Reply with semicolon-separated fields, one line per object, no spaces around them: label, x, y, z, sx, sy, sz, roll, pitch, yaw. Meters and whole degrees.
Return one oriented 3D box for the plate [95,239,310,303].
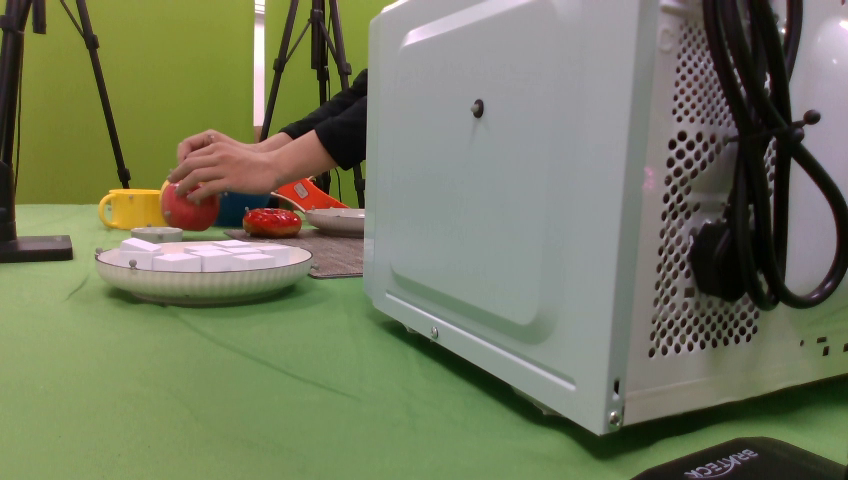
plate;-0.224;0.031;0.629;0.208;0.039;0.207;2;7;0

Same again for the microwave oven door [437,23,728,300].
microwave oven door;0.181;-0.073;0.621;0.358;0.243;0.039;-2;8;-29

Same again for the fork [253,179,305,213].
fork;-0.294;-0.083;1.293;0.206;0.018;0.028;29;13;26

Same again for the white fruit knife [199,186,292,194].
white fruit knife;-0.399;-0.111;1.368;0.208;0.016;0.027;-4;-19;-29

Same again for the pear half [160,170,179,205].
pear half;-0.412;-0.072;0.988;0.031;0.088;0.070;4;10;-2

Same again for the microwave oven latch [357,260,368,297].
microwave oven latch;-0.019;0.033;0.530;0.079;0.029;0.030;-1;7;-26

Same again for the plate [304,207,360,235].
plate;-0.123;-0.037;1.149;0.209;0.038;0.209;2;7;0

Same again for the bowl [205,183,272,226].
bowl;-0.381;-0.070;1.202;0.151;0.077;0.151;3;7;0

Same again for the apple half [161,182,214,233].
apple half;-0.357;-0.049;0.892;0.080;0.074;0.053;12;8;26

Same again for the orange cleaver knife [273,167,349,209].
orange cleaver knife;-0.237;-0.087;1.358;0.211;0.077;0.012;32;4;-3

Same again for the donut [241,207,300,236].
donut;-0.263;-0.031;1.038;0.099;0.048;0.099;5;8;0

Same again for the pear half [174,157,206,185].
pear half;-0.376;-0.080;0.986;0.056;0.110;0.076;1;8;-2

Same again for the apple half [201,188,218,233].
apple half;-0.340;-0.048;0.929;0.081;0.081;0.033;6;8;28

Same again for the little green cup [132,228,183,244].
little green cup;-0.342;0.006;0.779;0.061;0.038;0.061;2;8;0

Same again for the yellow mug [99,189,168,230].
yellow mug;-0.519;-0.055;1.081;0.099;0.064;0.131;7;10;27

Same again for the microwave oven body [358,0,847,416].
microwave oven body;0.211;-0.047;0.474;0.444;0.260;0.324;-1;8;-28

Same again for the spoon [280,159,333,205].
spoon;-0.316;-0.159;1.639;0.194;0.022;0.041;-49;33;-20
